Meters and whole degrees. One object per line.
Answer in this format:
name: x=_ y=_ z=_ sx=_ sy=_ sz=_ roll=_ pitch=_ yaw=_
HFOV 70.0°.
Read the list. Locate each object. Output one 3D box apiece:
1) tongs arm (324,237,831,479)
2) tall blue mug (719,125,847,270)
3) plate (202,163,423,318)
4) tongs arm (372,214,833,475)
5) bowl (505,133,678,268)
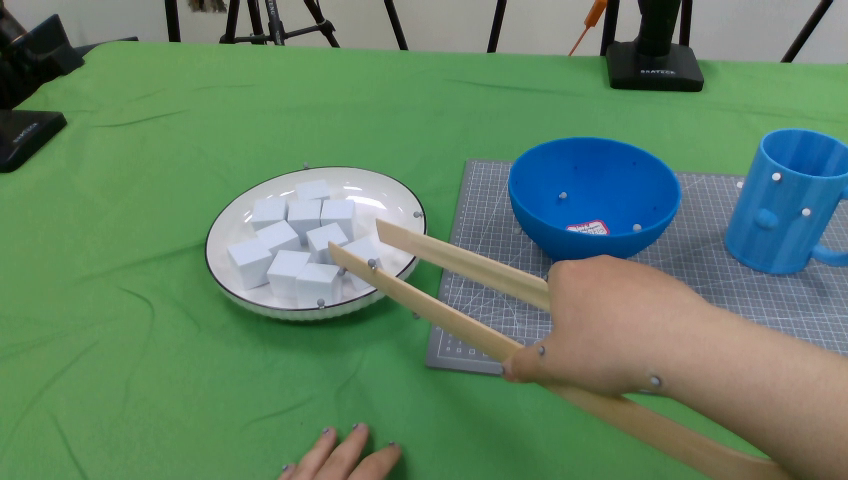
tongs arm: x=0.051 y=0.056 z=0.409 sx=0.051 sy=0.027 sz=0.381 roll=-26 pitch=33 yaw=-31
tall blue mug: x=0.336 y=-0.033 z=0.540 sx=0.107 sy=0.109 sz=0.077 roll=13 pitch=44 yaw=17
plate: x=-0.103 y=-0.001 z=0.583 sx=0.209 sy=0.038 sz=0.207 roll=-1 pitch=42 yaw=1
tongs arm: x=0.076 y=0.043 z=0.426 sx=0.028 sy=0.028 sz=0.383 roll=-24 pitch=32 yaw=-34
bowl: x=0.149 y=-0.027 z=0.565 sx=0.151 sy=0.077 sz=0.150 roll=-1 pitch=42 yaw=2
